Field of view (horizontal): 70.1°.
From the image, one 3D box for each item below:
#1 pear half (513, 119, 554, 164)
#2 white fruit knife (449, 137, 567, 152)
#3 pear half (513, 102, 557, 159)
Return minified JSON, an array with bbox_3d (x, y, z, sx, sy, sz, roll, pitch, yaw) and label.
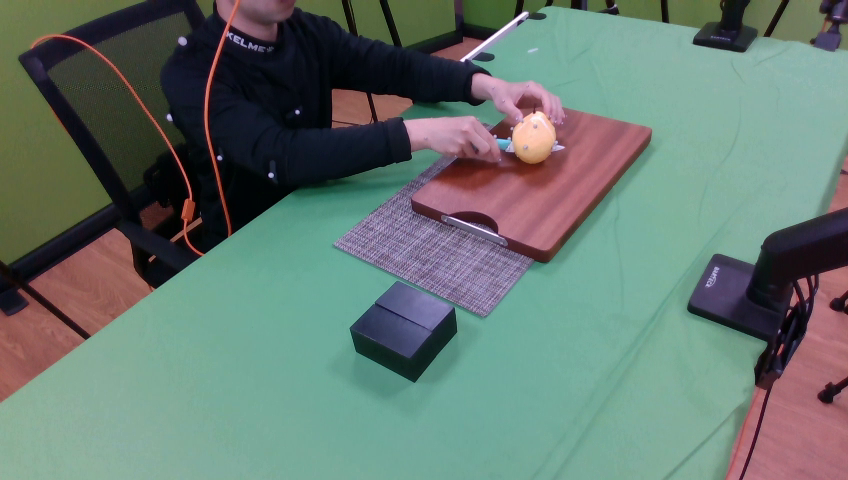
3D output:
[{"bbox_3d":[0.188,-0.163,1.039,0.070,0.088,0.031,1,47,5],"label":"pear half"},{"bbox_3d":[0.146,-0.167,1.064,0.207,0.027,0.016,3,43,11],"label":"white fruit knife"},{"bbox_3d":[0.195,-0.197,1.060,0.076,0.110,0.056,3,42,6],"label":"pear half"}]
